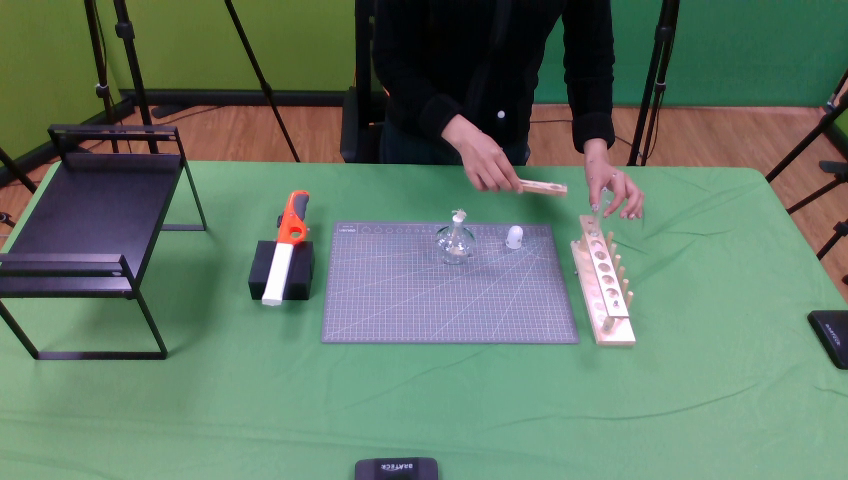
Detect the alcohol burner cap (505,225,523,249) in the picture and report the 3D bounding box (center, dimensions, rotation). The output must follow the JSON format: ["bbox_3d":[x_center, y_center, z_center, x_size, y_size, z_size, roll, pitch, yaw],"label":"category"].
[{"bbox_3d":[0.180,-0.009,1.203,0.034,0.048,0.033,2,47,-2],"label":"alcohol burner cap"}]

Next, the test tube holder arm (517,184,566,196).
[{"bbox_3d":[0.215,-0.093,1.108,0.088,0.015,0.010,7,56,2],"label":"test tube holder arm"}]

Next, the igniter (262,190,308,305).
[{"bbox_3d":[-0.252,0.004,1.107,0.057,0.025,0.275,7,47,-6],"label":"igniter"}]

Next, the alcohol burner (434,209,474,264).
[{"bbox_3d":[0.058,-0.011,1.146,0.078,0.119,0.077,3,44,-3],"label":"alcohol burner"}]

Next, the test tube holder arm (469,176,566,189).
[{"bbox_3d":[0.171,-0.102,1.112,0.178,0.015,0.013,6,56,1],"label":"test tube holder arm"}]

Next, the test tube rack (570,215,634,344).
[{"bbox_3d":[0.333,0.067,1.116,0.067,0.085,0.241,1,46,-3],"label":"test tube rack"}]

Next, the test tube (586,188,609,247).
[{"bbox_3d":[0.317,-0.037,1.109,0.017,0.151,0.017,-1,49,1],"label":"test tube"}]
